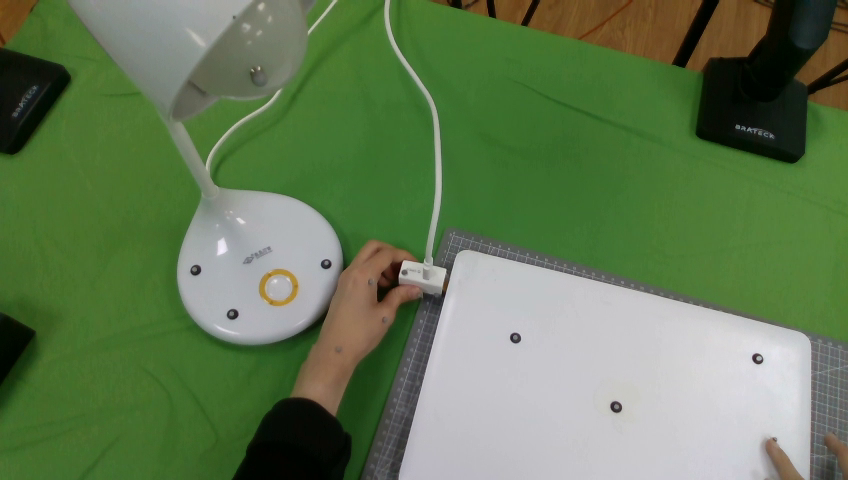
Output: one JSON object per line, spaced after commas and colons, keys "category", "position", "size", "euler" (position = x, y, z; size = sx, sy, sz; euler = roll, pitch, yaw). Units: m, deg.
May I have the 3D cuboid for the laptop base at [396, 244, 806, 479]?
{"category": "laptop base", "position": [0.172, 0.149, 0.564], "size": [0.354, 0.023, 0.234], "euler": [14, 70, 4]}

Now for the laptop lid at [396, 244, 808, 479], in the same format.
{"category": "laptop lid", "position": [0.171, 0.147, 0.553], "size": [0.356, 0.013, 0.240], "euler": [15, 69, 4]}

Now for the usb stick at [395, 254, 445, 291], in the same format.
{"category": "usb stick", "position": [0.002, 0.034, 0.595], "size": [0.059, 0.027, 0.021], "euler": [14, 58, 0]}

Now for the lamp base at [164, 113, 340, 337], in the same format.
{"category": "lamp base", "position": [-0.171, -0.021, 0.537], "size": [0.160, 0.181, 0.178], "euler": [-41, 71, -19]}

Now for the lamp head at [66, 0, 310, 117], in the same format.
{"category": "lamp head", "position": [-0.113, -0.131, 0.257], "size": [0.123, 0.112, 0.112], "euler": [42, 69, -9]}
